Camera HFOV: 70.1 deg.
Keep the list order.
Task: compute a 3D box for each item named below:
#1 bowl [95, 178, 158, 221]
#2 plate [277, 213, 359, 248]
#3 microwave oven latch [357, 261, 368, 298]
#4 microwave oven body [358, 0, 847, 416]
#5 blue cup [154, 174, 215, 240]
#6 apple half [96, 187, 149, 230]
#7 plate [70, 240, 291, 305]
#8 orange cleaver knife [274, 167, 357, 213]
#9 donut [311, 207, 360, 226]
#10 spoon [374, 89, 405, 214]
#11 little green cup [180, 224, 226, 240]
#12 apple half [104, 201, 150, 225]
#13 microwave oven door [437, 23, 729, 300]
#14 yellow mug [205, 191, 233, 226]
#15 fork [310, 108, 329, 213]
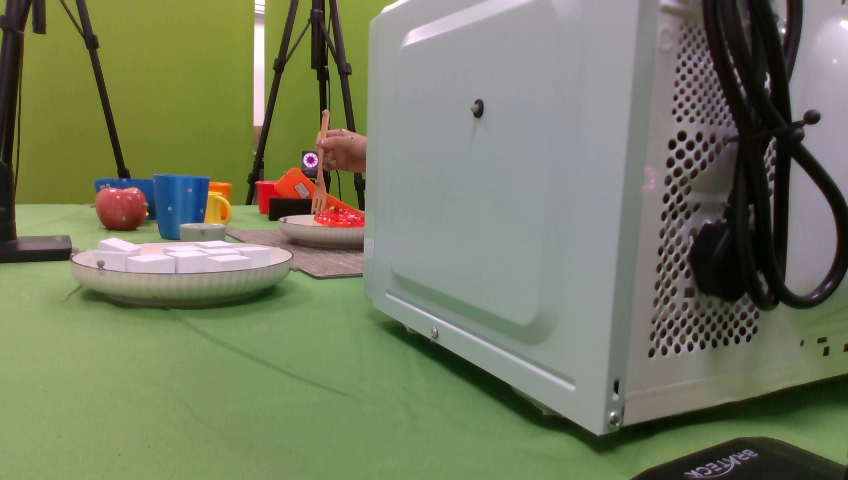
[{"bbox_3d":[-0.576,-0.081,1.217,0.151,0.077,0.151,3,8,0],"label":"bowl"},{"bbox_3d":[-0.134,-0.017,0.992,0.209,0.038,0.209,3,8,0],"label":"plate"},{"bbox_3d":[-0.019,0.033,0.529,0.079,0.029,0.030,0,7,-25],"label":"microwave oven latch"},{"bbox_3d":[0.211,-0.047,0.474,0.444,0.260,0.324,-1,7,-28],"label":"microwave oven body"},{"bbox_3d":[-0.391,-0.054,0.978,0.093,0.100,0.092,4,6,0],"label":"blue cup"},{"bbox_3d":[-0.516,-0.052,1.036,0.081,0.074,0.053,3,11,-26],"label":"apple half"},{"bbox_3d":[-0.242,0.031,0.618,0.208,0.039,0.207,2,8,0],"label":"plate"},{"bbox_3d":[-0.238,-0.091,1.381,0.212,0.077,0.012,31,0,-19],"label":"orange cleaver knife"},{"bbox_3d":[-0.137,-0.029,0.995,0.099,0.048,0.099,4,9,0],"label":"donut"},{"bbox_3d":[-0.056,-0.131,0.882,0.041,0.193,0.022,-9,-7,12],"label":"spoon"},{"bbox_3d":[-0.309,-0.001,0.846,0.061,0.038,0.061,2,8,0],"label":"little green cup"},{"bbox_3d":[-0.548,-0.044,1.115,0.081,0.033,0.081,18,6,-2],"label":"apple half"},{"bbox_3d":[0.181,-0.072,0.621,0.358,0.243,0.039,-2,8,-29],"label":"microwave oven door"},{"bbox_3d":[-0.415,-0.057,1.131,0.130,0.064,0.100,6,8,16],"label":"yellow mug"},{"bbox_3d":[-0.193,-0.149,1.132,0.028,0.207,0.019,0,-9,19],"label":"fork"}]
